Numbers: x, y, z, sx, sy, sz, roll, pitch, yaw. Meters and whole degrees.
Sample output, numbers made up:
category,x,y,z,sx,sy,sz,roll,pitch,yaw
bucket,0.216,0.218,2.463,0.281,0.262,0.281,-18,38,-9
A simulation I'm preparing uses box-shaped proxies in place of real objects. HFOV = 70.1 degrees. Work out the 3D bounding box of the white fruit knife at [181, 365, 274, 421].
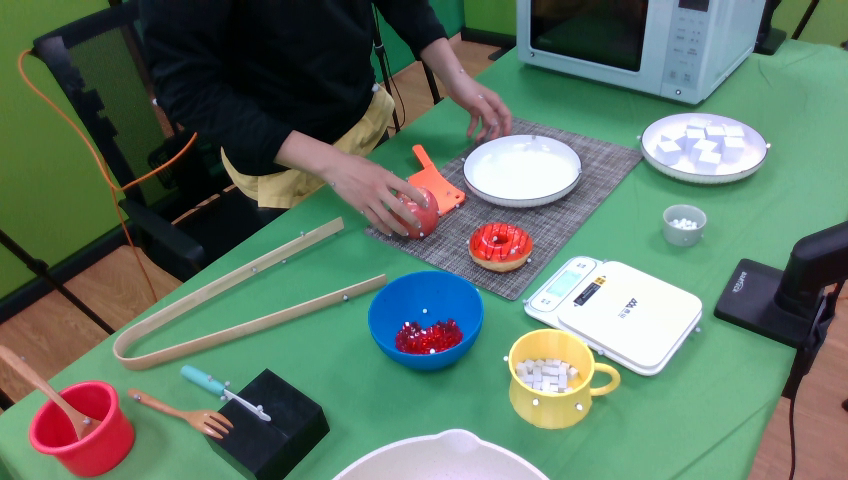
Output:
category,x,y,z,sx,sy,sz,roll,pitch,yaw
white fruit knife,-0.245,0.187,0.747,0.205,0.027,0.016,9,41,40

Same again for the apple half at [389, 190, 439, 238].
category,x,y,z,sx,sy,sz,roll,pitch,yaw
apple half,-0.015,-0.036,0.973,0.081,0.075,0.053,-6,44,-4

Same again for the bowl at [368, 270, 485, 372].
category,x,y,z,sx,sy,sz,roll,pitch,yaw
bowl,0.007,0.118,0.791,0.151,0.077,0.150,-4,40,4

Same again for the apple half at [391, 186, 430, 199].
category,x,y,z,sx,sy,sz,roll,pitch,yaw
apple half,-0.019,-0.061,1.002,0.081,0.081,0.032,-9,44,-1

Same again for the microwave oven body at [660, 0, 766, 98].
category,x,y,z,sx,sy,sz,roll,pitch,yaw
microwave oven body,0.472,-0.513,1.317,0.438,0.261,0.327,26,51,34

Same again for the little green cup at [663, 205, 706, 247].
category,x,y,z,sx,sy,sz,roll,pitch,yaw
little green cup,0.396,-0.020,0.926,0.061,0.039,0.061,-4,40,4

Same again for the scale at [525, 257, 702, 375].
category,x,y,z,sx,sy,sz,roll,pitch,yaw
scale,0.254,0.091,0.821,0.199,0.032,0.149,28,51,35

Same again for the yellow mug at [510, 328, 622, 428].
category,x,y,z,sx,sy,sz,roll,pitch,yaw
yellow mug,0.169,0.164,0.722,0.130,0.064,0.099,0,40,8

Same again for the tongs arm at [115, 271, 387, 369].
category,x,y,z,sx,sy,sz,roll,pitch,yaw
tongs arm,-0.237,0.112,0.868,0.389,0.028,0.028,-18,47,-12

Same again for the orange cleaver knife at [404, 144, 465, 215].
category,x,y,z,sx,sy,sz,roll,pitch,yaw
orange cleaver knife,0.005,-0.113,1.103,0.077,0.012,0.209,-23,44,-10

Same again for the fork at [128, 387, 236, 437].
category,x,y,z,sx,sy,sz,roll,pitch,yaw
fork,-0.305,0.207,0.744,0.206,0.019,0.028,3,41,36

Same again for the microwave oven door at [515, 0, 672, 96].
category,x,y,z,sx,sy,sz,roll,pitch,yaw
microwave oven door,0.343,-0.455,1.259,0.353,0.245,0.039,26,51,33

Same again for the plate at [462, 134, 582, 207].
category,x,y,z,sx,sy,sz,roll,pitch,yaw
plate,0.173,-0.119,1.070,0.209,0.038,0.208,-4,40,4

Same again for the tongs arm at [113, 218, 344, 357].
category,x,y,z,sx,sy,sz,roll,pitch,yaw
tongs arm,-0.280,0.067,0.927,0.386,0.026,0.050,-28,47,-23

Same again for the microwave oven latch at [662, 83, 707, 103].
category,x,y,z,sx,sy,sz,roll,pitch,yaw
microwave oven latch,0.517,-0.296,1.204,0.078,0.029,0.030,28,52,35

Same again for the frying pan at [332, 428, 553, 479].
category,x,y,z,sx,sy,sz,roll,pitch,yaw
frying pan,-0.089,0.306,0.564,0.487,0.103,0.306,10,41,7

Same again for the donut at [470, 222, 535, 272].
category,x,y,z,sx,sy,sz,roll,pitch,yaw
donut,0.119,0.009,0.923,0.099,0.048,0.098,-4,38,3

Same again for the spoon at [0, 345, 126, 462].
category,x,y,z,sx,sy,sz,roll,pitch,yaw
spoon,-0.434,0.192,0.720,0.194,0.021,0.042,47,53,-7

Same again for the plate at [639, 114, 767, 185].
category,x,y,z,sx,sy,sz,roll,pitch,yaw
plate,0.489,-0.157,1.074,0.207,0.039,0.206,-4,40,4
